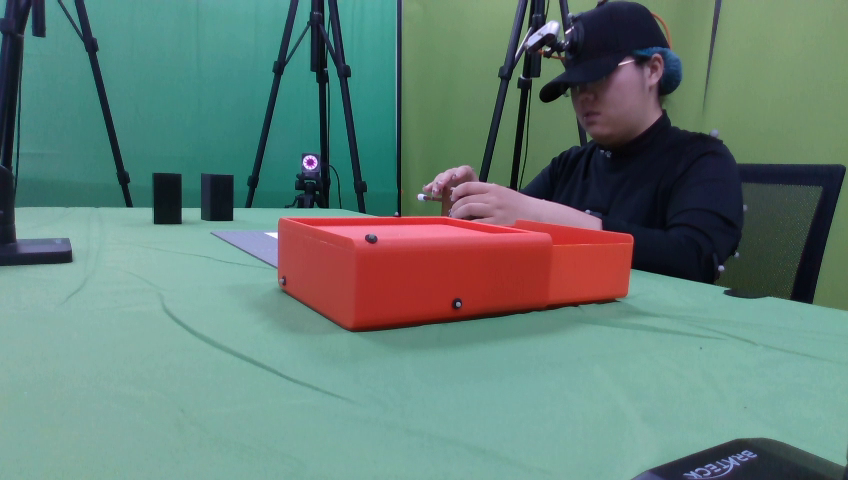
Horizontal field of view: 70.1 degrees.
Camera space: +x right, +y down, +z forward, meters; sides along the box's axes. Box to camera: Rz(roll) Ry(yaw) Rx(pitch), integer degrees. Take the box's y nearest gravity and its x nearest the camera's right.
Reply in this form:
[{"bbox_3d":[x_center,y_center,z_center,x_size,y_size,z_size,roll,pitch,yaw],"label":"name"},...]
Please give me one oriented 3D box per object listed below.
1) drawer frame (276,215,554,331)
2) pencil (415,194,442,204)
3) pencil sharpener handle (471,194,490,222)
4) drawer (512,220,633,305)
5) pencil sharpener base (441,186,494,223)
[{"bbox_3d":[-0.015,0.022,0.610,0.215,0.082,0.200,-2,9,-32],"label":"drawer frame"},{"bbox_3d":[0.034,-0.066,1.056,0.012,0.012,0.193,-1,10,-30],"label":"pencil"},{"bbox_3d":[0.097,-0.037,0.943,0.036,0.068,0.030,-10,13,-27],"label":"pencil sharpener handle"},{"bbox_3d":[0.085,0.021,0.674,0.213,0.073,0.193,-2,9,-32],"label":"drawer"},{"bbox_3d":[0.070,-0.032,0.988,0.061,0.107,0.076,-1,9,-28],"label":"pencil sharpener base"}]
